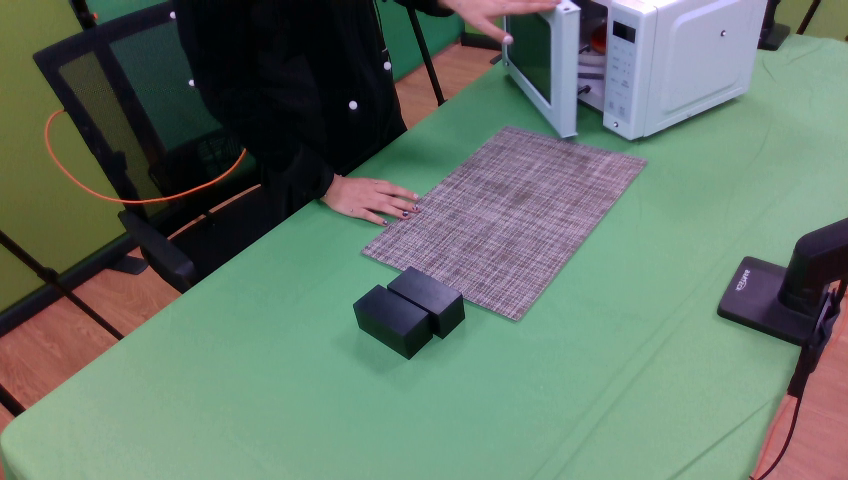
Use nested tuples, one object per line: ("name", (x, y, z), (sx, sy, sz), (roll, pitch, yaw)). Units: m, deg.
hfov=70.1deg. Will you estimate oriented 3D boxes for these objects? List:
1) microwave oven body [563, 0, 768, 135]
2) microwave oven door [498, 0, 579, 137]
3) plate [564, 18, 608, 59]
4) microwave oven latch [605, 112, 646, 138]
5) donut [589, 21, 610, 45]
("microwave oven body", (0.410, -0.441, 1.235), (0.327, 0.261, 0.437), (-25, 42, -16))
("microwave oven door", (0.223, -0.396, 1.211), (0.039, 0.245, 0.353), (-15, 40, -6))
("plate", (0.358, -0.428, 1.290), (0.209, 0.038, 0.208), (1, 34, 0))
("microwave oven latch", (0.375, -0.217, 1.130), (0.030, 0.029, 0.078), (-24, 42, -16))
("donut", (0.404, -0.430, 1.295), (0.099, 0.048, 0.098), (0, 54, 0))
